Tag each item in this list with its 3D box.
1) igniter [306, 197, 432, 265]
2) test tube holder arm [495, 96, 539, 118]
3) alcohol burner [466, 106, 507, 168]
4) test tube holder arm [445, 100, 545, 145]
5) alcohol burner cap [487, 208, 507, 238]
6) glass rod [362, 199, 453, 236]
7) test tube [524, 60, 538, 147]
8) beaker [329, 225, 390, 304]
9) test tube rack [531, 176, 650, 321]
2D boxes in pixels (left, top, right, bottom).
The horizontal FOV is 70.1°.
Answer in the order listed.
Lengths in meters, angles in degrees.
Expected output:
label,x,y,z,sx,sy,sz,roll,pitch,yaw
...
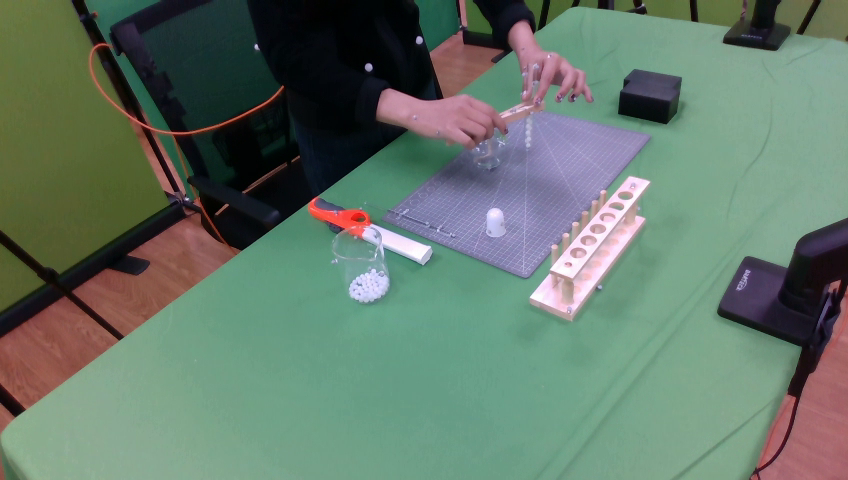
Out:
label,x,y,z,sx,sy,sz,roll,pitch,yaw
igniter,-0.102,-0.020,1.019,0.274,0.025,0.057,23,59,32
test tube holder arm,0.149,-0.207,0.968,0.088,0.015,0.010,-30,43,-23
alcohol burner,0.115,-0.193,1.112,0.078,0.119,0.077,-4,41,4
test tube holder arm,0.113,-0.186,0.950,0.179,0.015,0.013,-24,40,-16
alcohol burner cap,0.116,-0.030,0.975,0.034,0.048,0.033,-6,40,5
glass rod,-0.031,-0.041,1.041,0.198,0.008,0.008,22,50,31
test tube,0.171,-0.216,0.972,0.017,0.151,0.017,-3,40,3
beaker,-0.089,0.040,0.890,0.074,0.101,0.083,-32,46,-24
test tube rack,0.246,0.002,0.884,0.066,0.085,0.243,22,49,32
